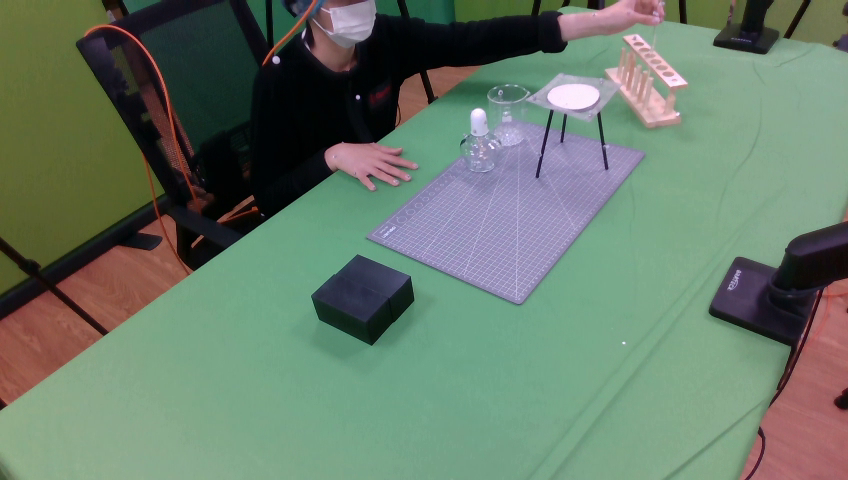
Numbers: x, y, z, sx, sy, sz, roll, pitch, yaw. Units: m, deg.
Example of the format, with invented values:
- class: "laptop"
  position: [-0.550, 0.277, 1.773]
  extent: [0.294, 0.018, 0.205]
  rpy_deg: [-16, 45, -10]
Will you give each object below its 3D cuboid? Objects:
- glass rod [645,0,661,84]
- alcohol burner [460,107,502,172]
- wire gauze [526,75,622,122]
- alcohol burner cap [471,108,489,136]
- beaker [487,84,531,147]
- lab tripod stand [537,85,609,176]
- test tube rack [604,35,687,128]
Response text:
- class: "glass rod"
  position: [0.452, -0.397, 1.194]
  extent: [0.008, 0.200, 0.008]
  rpy_deg: [-4, 45, 4]
- class: "alcohol burner"
  position: [0.102, -0.185, 1.098]
  extent: [0.078, 0.119, 0.077]
  rpy_deg: [-6, 40, 5]
- class: "wire gauze"
  position: [0.255, -0.248, 1.030]
  extent: [0.124, 0.011, 0.122]
  rpy_deg: [24, 51, 32]
- class: "alcohol burner cap"
  position: [0.098, -0.211, 1.074]
  extent: [0.034, 0.048, 0.033]
  rpy_deg: [-6, 42, 6]
- class: "beaker"
  position: [0.164, -0.237, 1.161]
  extent: [0.084, 0.101, 0.073]
  rpy_deg: [-9, 41, -3]
- class: "lab tripod stand"
  position: [0.259, -0.192, 1.068]
  extent: [0.148, 0.132, 0.147]
  rpy_deg: [-4, 43, 4]
- class: "test tube rack"
  position: [0.447, -0.330, 1.241]
  extent: [0.067, 0.085, 0.241]
  rpy_deg: [-9, 41, -2]
